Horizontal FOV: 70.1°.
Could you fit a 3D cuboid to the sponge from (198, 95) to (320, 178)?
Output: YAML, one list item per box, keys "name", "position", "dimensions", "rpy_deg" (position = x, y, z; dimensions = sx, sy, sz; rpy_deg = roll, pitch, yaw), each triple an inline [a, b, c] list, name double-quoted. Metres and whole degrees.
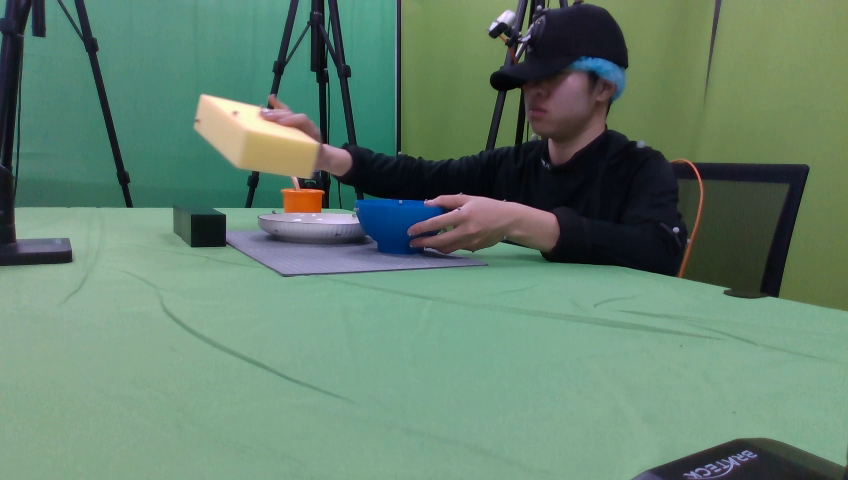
- name: "sponge"
  position: [-0.270, -0.168, 0.977]
  dimensions: [0.119, 0.061, 0.205]
  rpy_deg: [4, 22, -41]

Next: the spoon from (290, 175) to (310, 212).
- name: "spoon"
  position: [-0.279, -0.110, 1.324]
  dimensions: [0.042, 0.193, 0.021]
  rpy_deg: [3, -39, -35]

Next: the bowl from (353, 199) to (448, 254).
- name: "bowl"
  position: [-0.038, -0.021, 0.952]
  dimensions: [0.151, 0.077, 0.151]
  rpy_deg: [3, 7, 0]

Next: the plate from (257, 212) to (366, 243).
- name: "plate"
  position: [-0.189, -0.023, 1.072]
  dimensions: [0.209, 0.038, 0.209]
  rpy_deg: [3, 7, 0]
